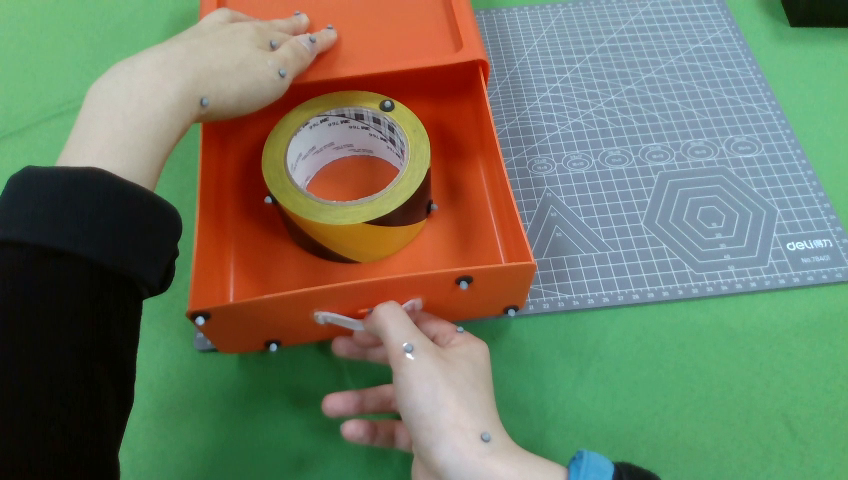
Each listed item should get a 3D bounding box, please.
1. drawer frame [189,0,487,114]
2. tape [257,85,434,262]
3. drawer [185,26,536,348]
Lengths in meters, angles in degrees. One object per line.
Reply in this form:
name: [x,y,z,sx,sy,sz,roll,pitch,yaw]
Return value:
drawer frame: [-0.071,-0.178,0.481,0.202,0.083,0.211,-9,60,-4]
tape: [-0.049,-0.046,0.413,0.117,0.053,0.116,1,60,-1]
drawer: [-0.047,-0.046,0.405,0.194,0.074,0.209,-8,61,-3]
